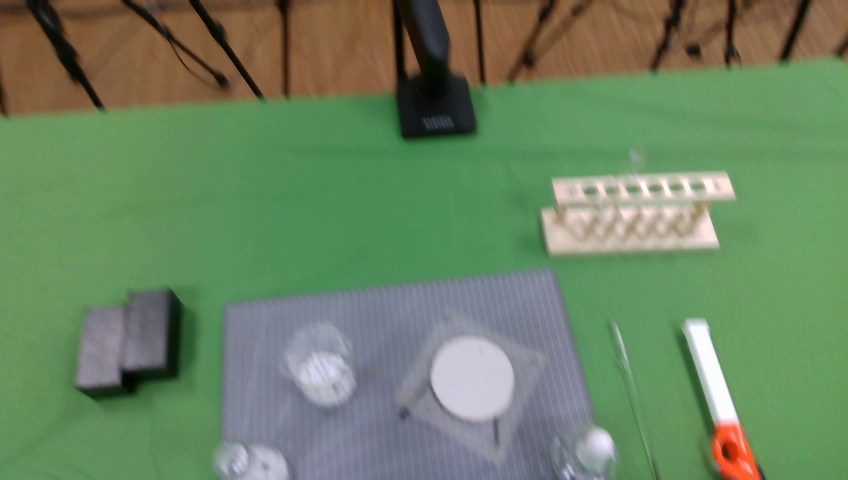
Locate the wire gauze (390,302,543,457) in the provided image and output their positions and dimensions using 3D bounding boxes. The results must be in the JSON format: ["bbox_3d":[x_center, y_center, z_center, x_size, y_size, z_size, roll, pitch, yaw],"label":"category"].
[{"bbox_3d":[0.046,0.138,0.627,0.124,0.011,0.121,27,65,12],"label":"wire gauze"}]

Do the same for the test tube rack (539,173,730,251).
[{"bbox_3d":[0.291,-0.038,0.843,0.242,0.086,0.066,-2,61,-4],"label":"test tube rack"}]

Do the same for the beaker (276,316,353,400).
[{"bbox_3d":[-0.124,0.144,0.712,0.084,0.101,0.073,-21,63,-13],"label":"beaker"}]

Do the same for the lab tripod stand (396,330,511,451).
[{"bbox_3d":[0.041,0.168,0.687,0.148,0.132,0.147,1,63,-1],"label":"lab tripod stand"}]

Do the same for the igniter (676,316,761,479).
[{"bbox_3d":[0.363,0.222,0.737,0.057,0.025,0.274,2,61,-14],"label":"igniter"}]

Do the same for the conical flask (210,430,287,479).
[{"bbox_3d":[-0.193,0.234,0.645,0.075,0.123,0.074,1,61,-2],"label":"conical flask"}]

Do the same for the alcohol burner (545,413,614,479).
[{"bbox_3d":[0.176,0.227,0.672,0.078,0.120,0.077,0,61,1],"label":"alcohol burner"}]

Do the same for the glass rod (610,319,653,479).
[{"bbox_3d":[0.259,0.194,0.758,0.008,0.008,0.198,-4,64,-5],"label":"glass rod"}]

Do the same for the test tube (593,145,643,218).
[{"bbox_3d":[0.254,-0.073,0.805,0.017,0.151,0.017,3,60,-5],"label":"test tube"}]

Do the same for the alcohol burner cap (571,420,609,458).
[{"bbox_3d":[0.178,0.208,0.642,0.034,0.048,0.033,3,54,-3],"label":"alcohol burner cap"}]
